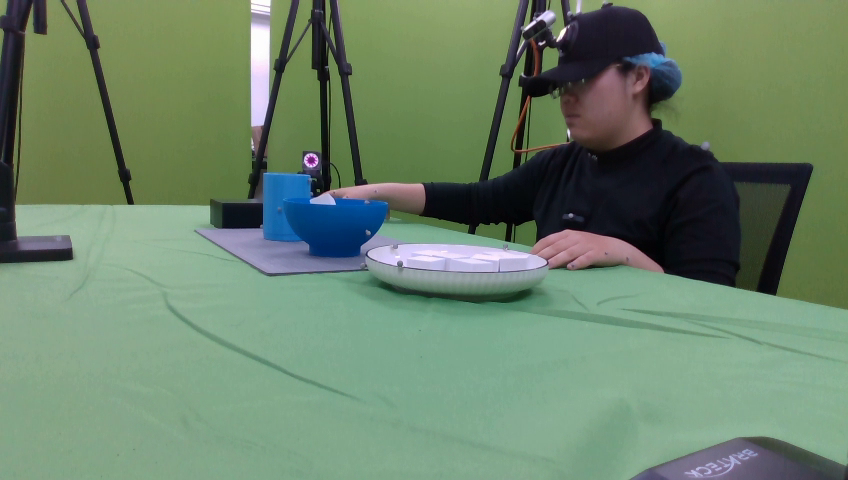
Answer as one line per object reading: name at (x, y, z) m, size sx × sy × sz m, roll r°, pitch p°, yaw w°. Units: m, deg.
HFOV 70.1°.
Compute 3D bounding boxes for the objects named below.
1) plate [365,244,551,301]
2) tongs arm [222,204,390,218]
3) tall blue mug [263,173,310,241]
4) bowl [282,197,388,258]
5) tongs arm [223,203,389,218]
plate at (0.038, 0.035, 0.685) m, size 0.209 × 0.038 × 0.209 m, roll 2°, pitch 7°, yaw 0°
tongs arm at (-0.255, -0.065, 1.371) m, size 0.386 × 0.026 × 0.050 m, roll 0°, pitch 2°, yaw -22°
tall blue mug at (-0.233, -0.058, 1.019) m, size 0.078 × 0.108 × 0.107 m, roll -1°, pitch 8°, yaw -19°
bowl at (-0.128, -0.018, 0.869) m, size 0.151 × 0.077 × 0.151 m, roll 2°, pitch 7°, yaw 0°
tongs arm at (-0.278, -0.071, 1.444) m, size 0.389 × 0.027 × 0.028 m, roll 1°, pitch -1°, yaw -10°
